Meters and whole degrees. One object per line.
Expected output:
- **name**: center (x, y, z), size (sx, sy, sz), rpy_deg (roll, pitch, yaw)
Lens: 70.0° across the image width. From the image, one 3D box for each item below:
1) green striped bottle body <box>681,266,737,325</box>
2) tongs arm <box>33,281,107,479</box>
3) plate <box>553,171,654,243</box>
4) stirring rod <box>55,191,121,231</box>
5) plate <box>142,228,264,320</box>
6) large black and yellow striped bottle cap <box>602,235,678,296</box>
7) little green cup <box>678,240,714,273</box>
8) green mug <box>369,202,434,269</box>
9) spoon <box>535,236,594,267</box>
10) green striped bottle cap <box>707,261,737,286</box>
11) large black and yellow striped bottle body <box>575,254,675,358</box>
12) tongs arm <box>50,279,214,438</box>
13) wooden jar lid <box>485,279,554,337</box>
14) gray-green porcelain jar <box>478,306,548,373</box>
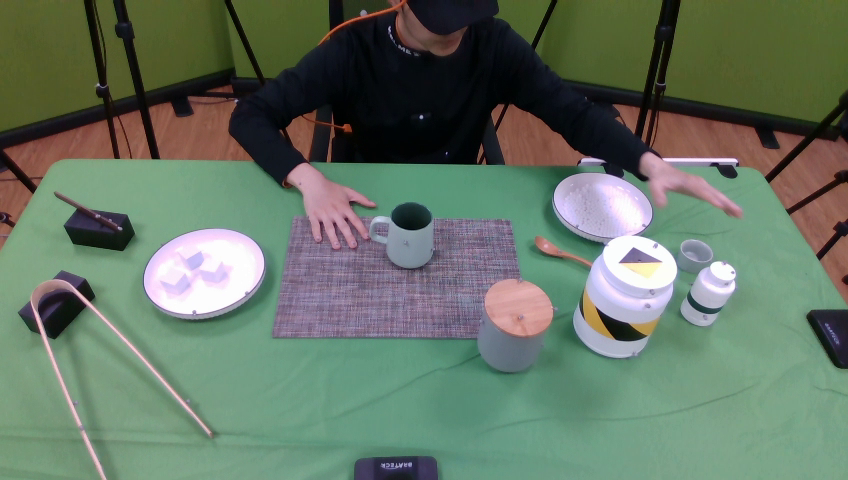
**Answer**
- **green striped bottle body**: center (0.507, 0.093, 1.074), size (0.063, 0.120, 0.063), rpy_deg (2, 46, -2)
- **tongs arm**: center (-0.517, 0.214, 0.910), size (0.051, 0.026, 0.383), rpy_deg (-28, 63, -27)
- **plate**: center (0.373, -0.066, 1.275), size (0.209, 0.038, 0.208), rpy_deg (2, 46, -2)
- **stirring rod**: center (-0.632, -0.055, 1.138), size (0.175, 0.014, 0.006), rpy_deg (24, 50, 19)
- **plate**: center (-0.394, 0.064, 1.095), size (0.208, 0.039, 0.206), rpy_deg (2, 46, -2)
- **large black and yellow striped bottle cap**: center (0.340, 0.037, 0.956), size (0.115, 0.019, 0.114), rpy_deg (2, 47, -2)
- **little green cup**: center (0.530, 0.033, 1.190), size (0.061, 0.039, 0.061), rpy_deg (2, 46, -1)
- **green mug**: center (-0.042, -0.010, 1.140), size (0.125, 0.105, 0.092), rpy_deg (7, 47, 4)
- **spoon**: center (0.303, 0.040, 1.178), size (0.193, 0.022, 0.041), rpy_deg (25, 32, 19)
- **green striped bottle cap**: center (0.510, 0.057, 1.036), size (0.044, 0.020, 0.044), rpy_deg (1, 45, 0)
- **large black and yellow striped bottle body**: center (0.335, 0.096, 1.014), size (0.131, 0.185, 0.130), rpy_deg (2, 46, -2)
- **tongs arm**: center (-0.459, 0.178, 0.949), size (0.386, 0.028, 0.028), rpy_deg (37, 60, 17)
- **wooden jar lid**: center (0.147, 0.108, 0.940), size (0.108, 0.021, 0.107), rpy_deg (4, 47, -4)
- **gray-green porcelain jar**: center (0.144, 0.148, 0.989), size (0.106, 0.127, 0.105), rpy_deg (2, 50, -2)
